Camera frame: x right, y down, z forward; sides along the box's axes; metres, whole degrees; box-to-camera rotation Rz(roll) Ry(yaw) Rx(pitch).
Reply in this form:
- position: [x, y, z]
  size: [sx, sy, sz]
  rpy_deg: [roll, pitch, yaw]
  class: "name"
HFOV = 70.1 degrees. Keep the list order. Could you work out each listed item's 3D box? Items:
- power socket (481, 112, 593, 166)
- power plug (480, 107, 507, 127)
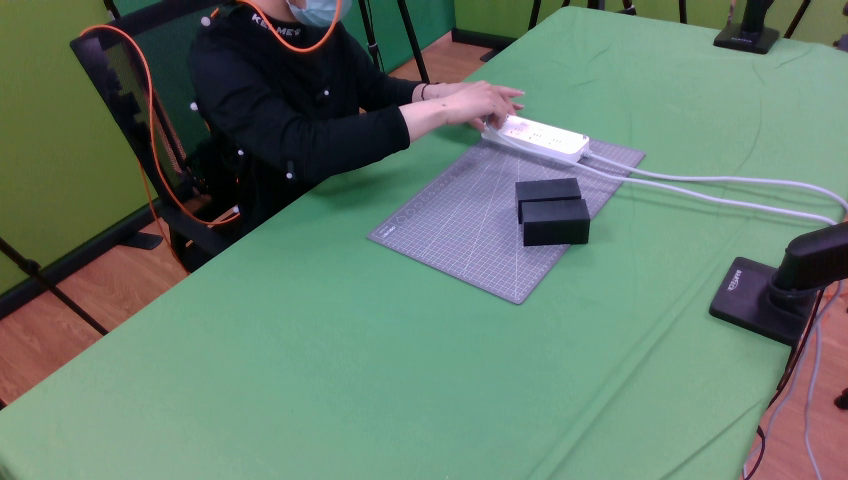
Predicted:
- position: [0.209, -0.197, 1.154]
  size: [0.225, 0.033, 0.072]
  rpy_deg: [25, 50, 31]
  class: "power socket"
- position: [0.128, -0.226, 1.161]
  size: [0.073, 0.053, 0.035]
  rpy_deg: [-32, 45, -23]
  class: "power plug"
